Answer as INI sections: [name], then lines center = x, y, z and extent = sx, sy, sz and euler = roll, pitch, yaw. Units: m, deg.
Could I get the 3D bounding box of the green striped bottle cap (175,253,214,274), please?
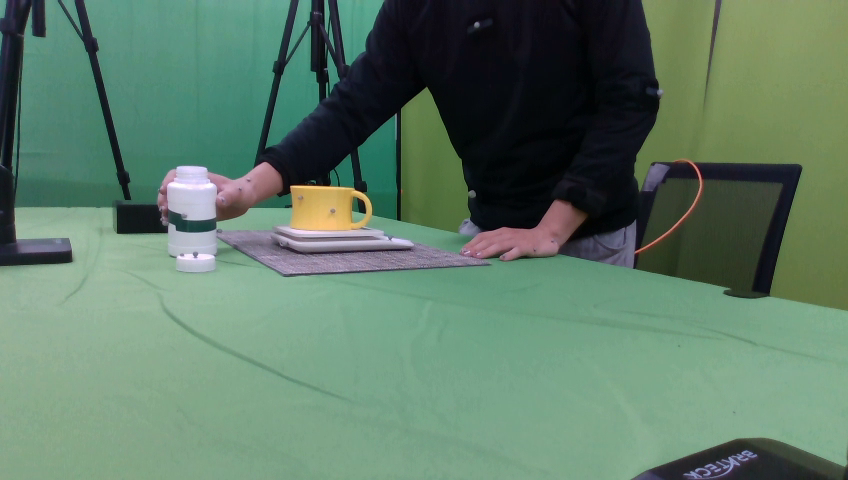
[green striped bottle cap]
center = -0.280, 0.029, 0.740
extent = 0.044, 0.020, 0.044
euler = 6, 4, 0

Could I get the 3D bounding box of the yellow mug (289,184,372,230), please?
[yellow mug]
center = -0.145, -0.052, 0.944
extent = 0.131, 0.064, 0.100
euler = 4, 7, 9

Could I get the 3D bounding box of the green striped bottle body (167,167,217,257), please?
[green striped bottle body]
center = -0.318, -0.039, 0.831
extent = 0.063, 0.119, 0.063
euler = 4, 12, -1

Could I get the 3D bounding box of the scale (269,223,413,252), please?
[scale]
center = -0.132, -0.007, 0.965
extent = 0.202, 0.031, 0.148
euler = -2, 8, -31
